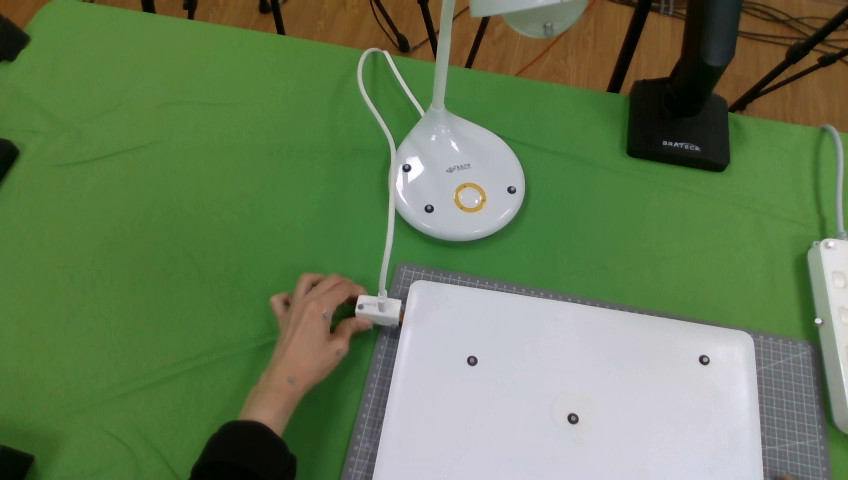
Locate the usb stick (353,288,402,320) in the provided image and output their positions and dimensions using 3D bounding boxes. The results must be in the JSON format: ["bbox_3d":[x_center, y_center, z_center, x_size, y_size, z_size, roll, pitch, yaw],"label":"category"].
[{"bbox_3d":[-0.041,0.066,0.614,0.059,0.027,0.021,9,56,-2],"label":"usb stick"}]

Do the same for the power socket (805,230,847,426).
[{"bbox_3d":[0.448,0.089,0.626,0.072,0.033,0.225,9,62,1],"label":"power socket"}]

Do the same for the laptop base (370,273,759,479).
[{"bbox_3d":[0.139,0.165,0.584,0.354,0.023,0.234,9,66,2],"label":"laptop base"}]

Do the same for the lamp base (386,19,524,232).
[{"bbox_3d":[0.031,-0.125,0.640,0.161,0.181,0.177,-25,63,-14],"label":"lamp base"}]

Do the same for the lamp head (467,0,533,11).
[{"bbox_3d":[0.070,-0.212,0.372,0.112,0.111,0.123,-17,108,-10],"label":"lamp head"}]

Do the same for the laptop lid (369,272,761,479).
[{"bbox_3d":[0.138,0.162,0.572,0.356,0.013,0.240,10,66,3],"label":"laptop lid"}]
